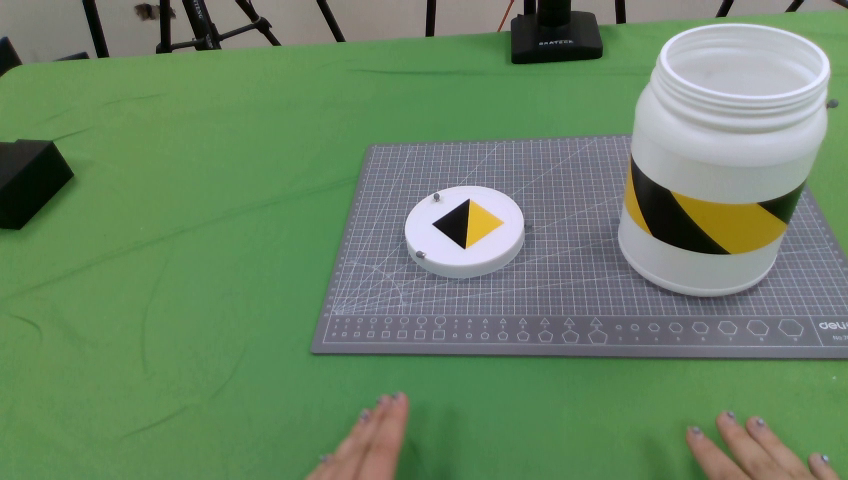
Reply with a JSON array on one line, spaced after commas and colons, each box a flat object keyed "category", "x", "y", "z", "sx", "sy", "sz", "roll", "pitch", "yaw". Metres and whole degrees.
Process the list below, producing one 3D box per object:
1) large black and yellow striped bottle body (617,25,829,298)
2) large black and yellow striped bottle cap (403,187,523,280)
[{"category": "large black and yellow striped bottle body", "x": 0.228, "y": -0.059, "z": 0.479, "sx": 0.131, "sy": 0.186, "sz": 0.129, "roll": -5, "pitch": 44, "yaw": 5}, {"category": "large black and yellow striped bottle cap", "x": 0.037, "y": -0.009, "z": 0.581, "sx": 0.115, "sy": 0.019, "sz": 0.114, "roll": -4, "pitch": 44, "yaw": 4}]
